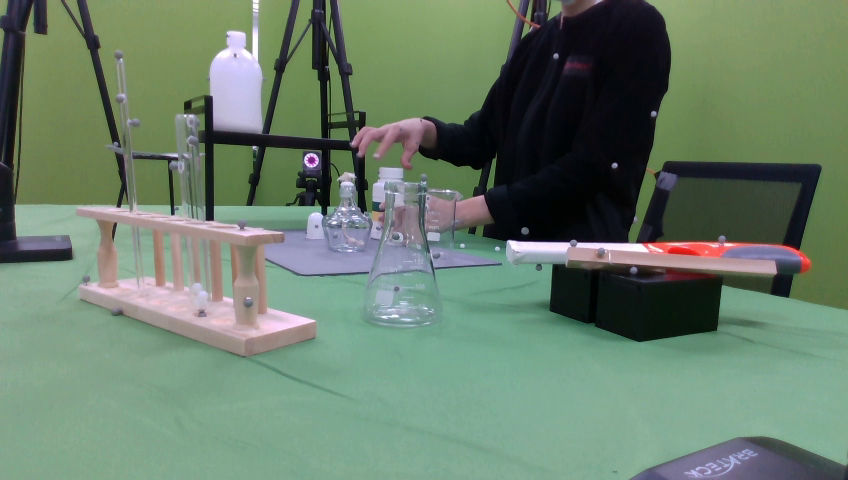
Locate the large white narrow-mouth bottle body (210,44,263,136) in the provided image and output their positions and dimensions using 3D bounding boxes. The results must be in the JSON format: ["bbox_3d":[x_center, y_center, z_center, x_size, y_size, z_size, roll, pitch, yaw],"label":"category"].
[{"bbox_3d":[-0.369,-0.305,1.194,0.102,0.194,0.102,3,8,0],"label":"large white narrow-mouth bottle body"}]

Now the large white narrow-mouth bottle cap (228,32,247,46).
[{"bbox_3d":[-0.364,-0.390,1.180,0.038,0.024,0.037,3,8,0],"label":"large white narrow-mouth bottle cap"}]

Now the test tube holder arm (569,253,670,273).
[{"bbox_3d":[0.172,0.019,0.532,0.088,0.015,0.010,3,-23,3],"label":"test tube holder arm"}]

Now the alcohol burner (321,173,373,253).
[{"bbox_3d":[-0.115,-0.041,0.905,0.078,0.119,0.078,1,6,0],"label":"alcohol burner"}]

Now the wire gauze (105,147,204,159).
[{"bbox_3d":[-0.407,-0.131,0.929,0.125,0.011,0.121,2,6,-11],"label":"wire gauze"}]

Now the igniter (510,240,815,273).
[{"bbox_3d":[0.220,0.015,0.565,0.277,0.025,0.057,2,16,0],"label":"igniter"}]

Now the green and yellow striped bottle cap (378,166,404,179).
[{"bbox_3d":[-0.058,-0.117,1.051,0.045,0.020,0.045,4,7,0],"label":"green and yellow striped bottle cap"}]

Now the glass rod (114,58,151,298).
[{"bbox_3d":[-0.236,-0.044,0.492,0.008,0.199,0.008,1,15,0],"label":"glass rod"}]

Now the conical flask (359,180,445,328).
[{"bbox_3d":[-0.017,0.010,0.522,0.075,0.122,0.075,2,7,0],"label":"conical flask"}]

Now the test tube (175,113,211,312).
[{"bbox_3d":[-0.174,-0.020,0.458,0.017,0.150,0.017,-3,5,1],"label":"test tube"}]

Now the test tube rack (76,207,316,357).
[{"bbox_3d":[-0.196,0.023,0.499,0.241,0.085,0.067,8,9,36],"label":"test tube rack"}]

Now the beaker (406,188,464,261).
[{"bbox_3d":[0.014,-0.023,0.870,0.084,0.100,0.074,3,8,-4],"label":"beaker"}]

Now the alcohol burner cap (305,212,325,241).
[{"bbox_3d":[-0.185,-0.023,1.027,0.034,0.048,0.034,2,6,0],"label":"alcohol burner cap"}]

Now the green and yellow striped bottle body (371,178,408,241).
[{"bbox_3d":[-0.059,-0.061,1.059,0.063,0.119,0.063,3,7,0],"label":"green and yellow striped bottle body"}]

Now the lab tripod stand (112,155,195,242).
[{"bbox_3d":[-0.405,-0.064,0.931,0.148,0.131,0.148,1,6,0],"label":"lab tripod stand"}]

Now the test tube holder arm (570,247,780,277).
[{"bbox_3d":[0.217,0.019,0.525,0.178,0.015,0.013,3,-23,3],"label":"test tube holder arm"}]
